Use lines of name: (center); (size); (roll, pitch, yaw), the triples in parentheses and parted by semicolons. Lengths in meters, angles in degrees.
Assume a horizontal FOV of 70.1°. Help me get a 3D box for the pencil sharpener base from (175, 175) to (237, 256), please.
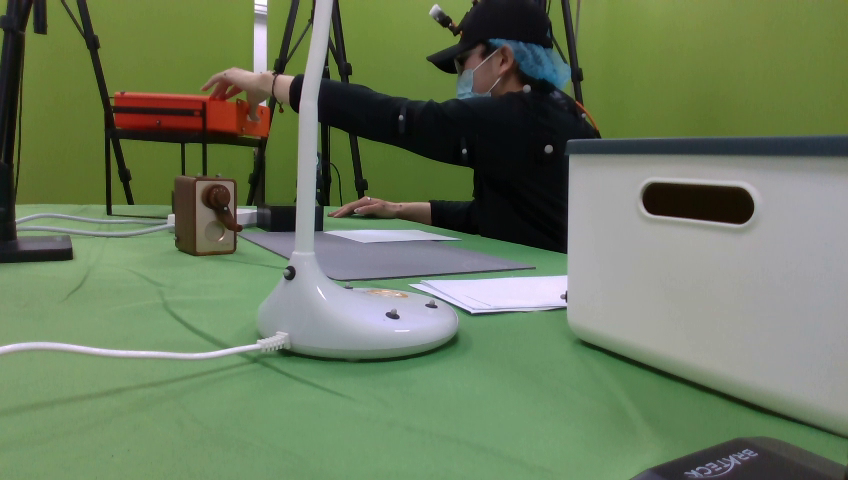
pencil sharpener base: (-0.305, -0.036, 0.847); (0.062, 0.107, 0.076); (-4, 10, -42)

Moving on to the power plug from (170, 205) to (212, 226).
power plug: (-0.456, -0.041, 1.196); (0.052, 0.035, 0.072); (2, 42, 23)

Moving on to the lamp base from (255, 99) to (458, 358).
lamp base: (-0.056, -0.013, 0.462); (0.160, 0.180, 0.180); (6, 11, 27)

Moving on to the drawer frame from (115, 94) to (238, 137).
drawer frame: (-0.542, -0.281, 1.374); (0.213, 0.082, 0.201); (2, 8, 3)

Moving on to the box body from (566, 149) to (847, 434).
box body: (0.317, 0.009, 0.471); (0.366, 0.160, 0.253); (-2, 8, -31)

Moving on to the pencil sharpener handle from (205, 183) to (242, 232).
pencil sharpener handle: (-0.265, -0.043, 0.813); (0.036, 0.068, 0.030); (-32, 28, -35)

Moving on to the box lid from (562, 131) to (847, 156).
box lid: (0.322, -0.064, 0.463); (0.373, 0.015, 0.262); (-2, 9, -31)

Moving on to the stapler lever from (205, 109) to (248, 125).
stapler lever: (-0.440, -0.277, 1.354); (0.027, 0.040, 0.118); (0, 8, 23)

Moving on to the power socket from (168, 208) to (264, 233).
power socket: (-0.382, -0.038, 1.129); (0.072, 0.032, 0.227); (4, 8, 17)

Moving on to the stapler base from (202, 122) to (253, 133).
stapler base: (-0.439, -0.253, 1.359); (0.041, 0.024, 0.131); (0, 9, 23)

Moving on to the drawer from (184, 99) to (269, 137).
drawer: (-0.483, -0.275, 1.369); (0.212, 0.073, 0.194); (2, 8, 6)

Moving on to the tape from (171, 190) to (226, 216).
tape: (-0.516, -0.087, 1.388); (0.117, 0.052, 0.117); (3, 7, 0)

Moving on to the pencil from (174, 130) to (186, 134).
pencil: (-0.472, -0.254, 1.355); (0.012, 0.012, 0.195); (7, 20, 34)
